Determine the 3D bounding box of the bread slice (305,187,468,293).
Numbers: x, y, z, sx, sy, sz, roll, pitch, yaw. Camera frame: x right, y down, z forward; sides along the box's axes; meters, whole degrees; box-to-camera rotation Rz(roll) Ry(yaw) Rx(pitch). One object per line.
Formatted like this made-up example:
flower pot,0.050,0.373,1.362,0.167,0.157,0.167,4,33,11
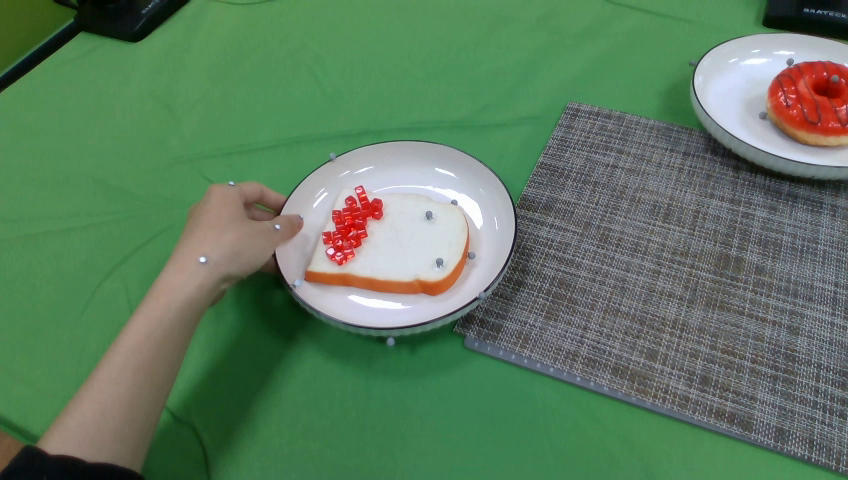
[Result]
bread slice,-0.027,-0.003,0.525,0.131,0.019,0.104,6,53,11

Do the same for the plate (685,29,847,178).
plate,0.356,-0.129,0.580,0.207,0.039,0.205,-2,50,3

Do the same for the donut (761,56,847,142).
donut,0.368,-0.131,0.566,0.099,0.049,0.098,-2,53,3

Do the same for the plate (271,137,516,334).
plate,-0.025,-0.007,0.524,0.209,0.038,0.207,-3,52,4
